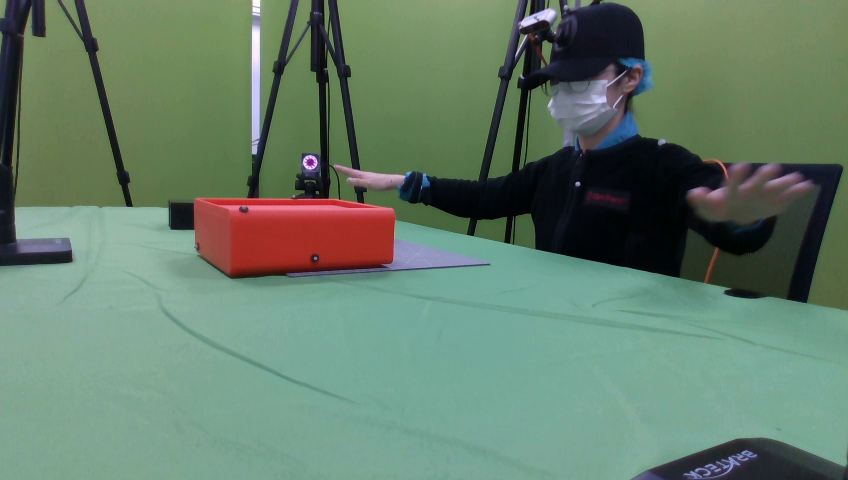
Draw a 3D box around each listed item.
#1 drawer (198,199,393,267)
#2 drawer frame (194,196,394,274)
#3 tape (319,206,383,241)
[{"bbox_3d":[-0.177,-0.014,0.817,0.213,0.073,0.193,-3,9,-31],"label":"drawer"},{"bbox_3d":[-0.178,-0.014,0.815,0.215,0.082,0.200,-4,9,-32],"label":"drawer frame"},{"bbox_3d":[-0.129,-0.030,1.076,0.117,0.052,0.117,2,8,0],"label":"tape"}]
